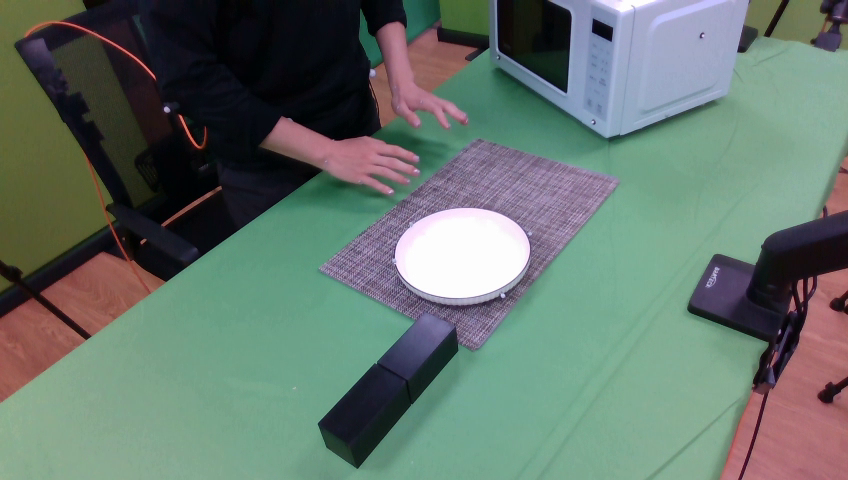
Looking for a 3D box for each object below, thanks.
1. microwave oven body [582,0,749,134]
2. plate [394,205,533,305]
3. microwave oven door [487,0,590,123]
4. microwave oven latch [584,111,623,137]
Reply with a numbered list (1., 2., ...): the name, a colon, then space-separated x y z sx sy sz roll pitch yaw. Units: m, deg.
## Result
1. microwave oven body: 0.382 -0.444 1.246 0.327 0.261 0.437 -22 42 -16
2. plate: 0.059 0.025 0.915 0.207 0.039 0.206 -4 41 4
3. microwave oven door: 0.232 -0.420 1.231 0.039 0.245 0.352 -22 43 -16
4. microwave oven latch: 0.337 -0.222 1.142 0.030 0.029 0.078 -21 42 -14
